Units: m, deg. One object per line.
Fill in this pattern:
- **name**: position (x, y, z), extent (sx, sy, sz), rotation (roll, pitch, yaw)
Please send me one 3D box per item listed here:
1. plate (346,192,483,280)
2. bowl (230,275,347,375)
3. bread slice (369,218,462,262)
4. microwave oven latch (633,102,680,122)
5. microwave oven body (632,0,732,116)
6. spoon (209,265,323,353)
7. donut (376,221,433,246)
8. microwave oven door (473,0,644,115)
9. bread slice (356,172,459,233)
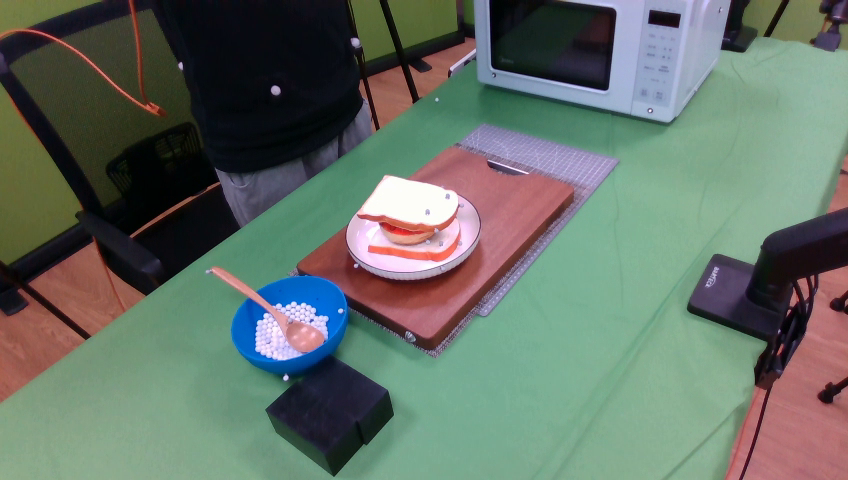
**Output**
- **plate**: position (-0.013, -0.008, 0.922), extent (0.207, 0.039, 0.206), rotation (-4, 40, 4)
- **bowl**: position (-0.170, 0.125, 0.802), extent (0.151, 0.077, 0.150), rotation (-4, 40, 4)
- **bread slice**: position (-0.008, -0.009, 0.929), extent (0.131, 0.019, 0.105), rotation (7, 44, 20)
- **microwave oven latch**: position (0.444, -0.249, 1.157), extent (0.078, 0.029, 0.030), rotation (21, 49, 30)
- **microwave oven body**: position (0.377, -0.462, 1.267), extent (0.438, 0.261, 0.327), rotation (21, 48, 30)
- **spoon**: position (-0.213, 0.087, 0.806), extent (0.193, 0.021, 0.042), rotation (36, 58, 11)
- **donut**: position (-0.023, -0.032, 0.906), extent (0.099, 0.048, 0.098), rotation (-9, 42, 9)
- **microwave oven door**: position (0.257, -0.396, 1.199), extent (0.353, 0.245, 0.039), rotation (21, 48, 29)
- **bread slice**: position (-0.018, -0.054, 0.886), extent (0.134, 0.018, 0.107), rotation (12, 43, 12)
